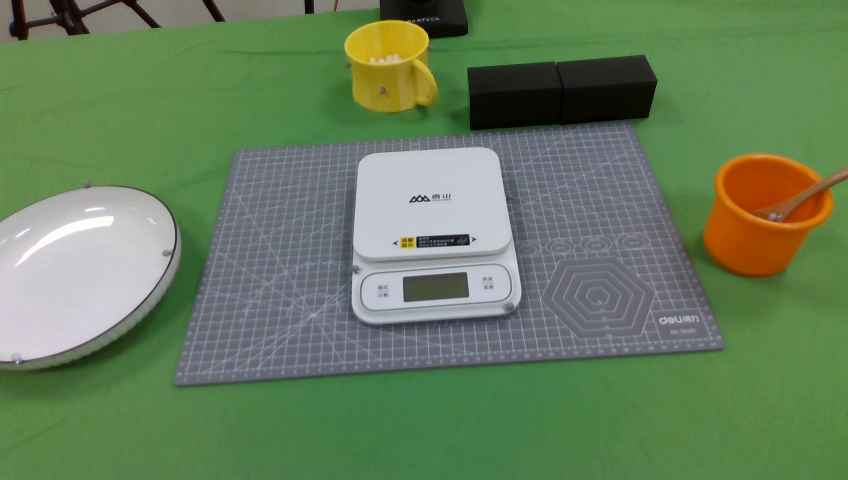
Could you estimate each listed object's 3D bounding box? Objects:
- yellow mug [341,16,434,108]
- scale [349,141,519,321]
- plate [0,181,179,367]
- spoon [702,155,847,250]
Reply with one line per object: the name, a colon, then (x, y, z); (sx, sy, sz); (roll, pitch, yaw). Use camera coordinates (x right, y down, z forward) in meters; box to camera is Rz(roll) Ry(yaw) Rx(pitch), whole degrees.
yellow mug: (-0.035, -0.209, 0.725); (0.129, 0.064, 0.100); (35, 60, 29)
scale: (0.005, -0.017, 0.572); (0.149, 0.032, 0.199); (-4, 49, 1)
plate: (-0.328, 0.029, 0.558); (0.209, 0.038, 0.207); (-2, 49, 2)
spoon: (0.324, -0.047, 0.500); (0.022, 0.194, 0.041); (25, 43, -34)
